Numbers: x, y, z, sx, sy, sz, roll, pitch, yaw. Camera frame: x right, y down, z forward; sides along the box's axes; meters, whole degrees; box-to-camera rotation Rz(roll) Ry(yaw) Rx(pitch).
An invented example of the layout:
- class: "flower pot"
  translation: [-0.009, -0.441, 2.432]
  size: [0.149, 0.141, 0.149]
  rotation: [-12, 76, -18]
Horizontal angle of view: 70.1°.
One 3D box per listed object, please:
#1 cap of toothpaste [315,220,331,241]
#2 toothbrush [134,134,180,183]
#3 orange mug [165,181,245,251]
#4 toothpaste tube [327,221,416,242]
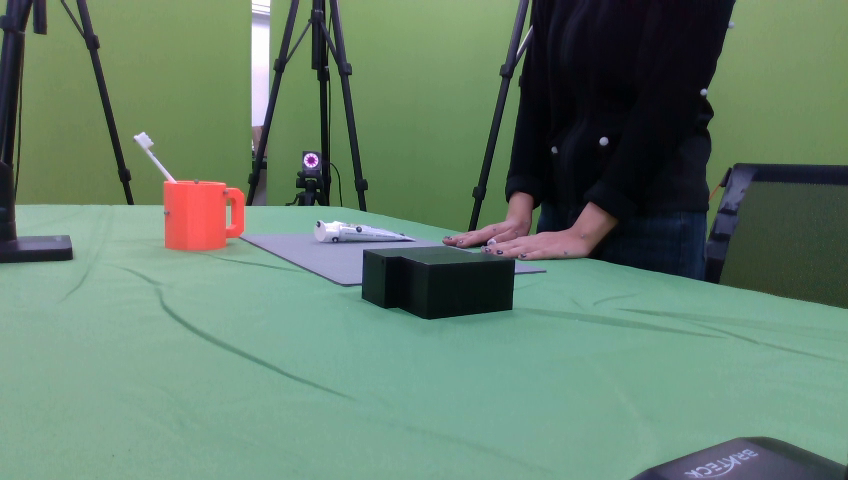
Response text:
- class: "cap of toothpaste"
  translation: [-0.164, -0.016, 0.982]
  size: [0.011, 0.037, 0.037]
  rotation: [-8, 12, -43]
- class: "toothbrush"
  translation: [-0.349, -0.077, 0.874]
  size: [0.014, 0.182, 0.017]
  rotation: [-13, 30, 46]
- class: "orange mug"
  translation: [-0.326, -0.040, 0.911]
  size: [0.083, 0.101, 0.127]
  rotation: [8, 14, 37]
- class: "toothpaste tube"
  translation: [-0.095, -0.012, 1.026]
  size: [0.166, 0.034, 0.055]
  rotation: [2, 13, -33]
